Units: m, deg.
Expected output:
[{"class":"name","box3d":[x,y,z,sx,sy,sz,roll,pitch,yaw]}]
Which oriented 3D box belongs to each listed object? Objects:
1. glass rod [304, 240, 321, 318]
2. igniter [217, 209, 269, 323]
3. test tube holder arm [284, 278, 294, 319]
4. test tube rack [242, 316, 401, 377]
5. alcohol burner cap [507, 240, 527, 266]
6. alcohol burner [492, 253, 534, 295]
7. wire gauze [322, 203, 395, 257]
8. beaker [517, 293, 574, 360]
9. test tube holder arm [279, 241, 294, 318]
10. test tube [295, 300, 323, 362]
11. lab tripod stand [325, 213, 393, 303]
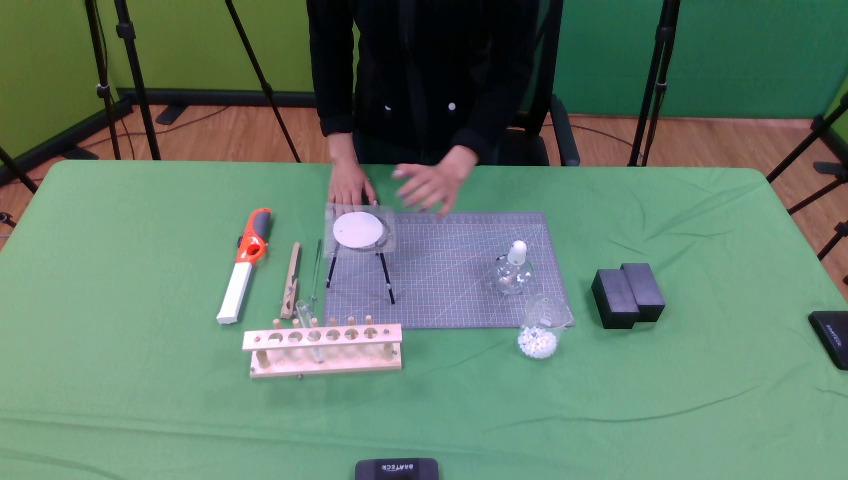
[{"class":"glass rod","box3d":[-0.207,0.068,1.128,0.008,0.008,0.198,2,43,-2]},{"class":"igniter","box3d":[-0.335,0.039,1.132,0.057,0.025,0.275,-4,46,6]},{"class":"test tube holder arm","box3d":[-0.243,0.103,1.085,0.010,0.015,0.087,29,36,-31]},{"class":"test tube rack","box3d":[-0.161,0.166,0.983,0.242,0.085,0.066,-2,46,-6]},{"class":"alcohol burner cap","box3d":[0.167,0.021,1.075,0.034,0.048,0.033,0,56,0]},{"class":"alcohol burner","box3d":[0.165,0.045,1.103,0.078,0.119,0.077,3,47,-3]},{"class":"wire gauze","box3d":[-0.111,-0.020,1.035,0.121,0.011,0.124,0,47,-7]},{"class":"beaker","box3d":[0.200,0.149,1.018,0.084,0.101,0.073,14,47,8]},{"class":"test tube holder arm","box3d":[-0.251,0.068,1.113,0.013,0.015,0.177,28,37,-32]},{"class":"test tube","box3d":[-0.176,0.143,0.935,0.017,0.151,0.017,-2,46,2]},{"class":"lab tripod stand","box3d":[-0.104,0.031,1.080,0.148,0.132,0.147,4,45,-4]}]
